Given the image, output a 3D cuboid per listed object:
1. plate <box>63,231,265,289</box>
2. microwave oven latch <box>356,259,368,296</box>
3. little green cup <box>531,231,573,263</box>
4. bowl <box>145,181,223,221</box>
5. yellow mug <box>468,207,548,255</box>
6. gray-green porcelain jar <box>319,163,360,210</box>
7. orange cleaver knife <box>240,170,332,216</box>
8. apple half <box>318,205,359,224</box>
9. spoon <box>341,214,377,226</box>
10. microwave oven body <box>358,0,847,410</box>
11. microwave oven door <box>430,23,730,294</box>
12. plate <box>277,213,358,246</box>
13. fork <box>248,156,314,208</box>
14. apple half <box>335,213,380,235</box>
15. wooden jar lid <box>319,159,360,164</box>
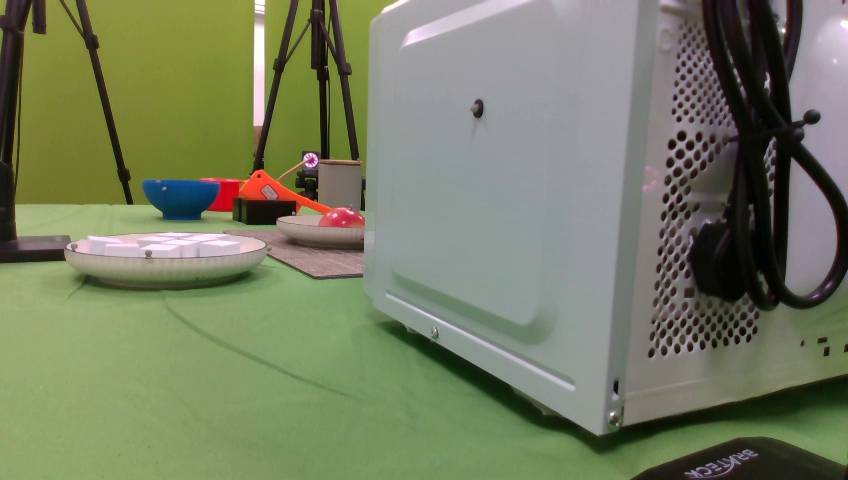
[{"bbox_3d":[-0.288,0.021,0.687,0.208,0.039,0.207,2,8,0],"label":"plate"},{"bbox_3d":[-0.019,0.031,0.528,0.079,0.029,0.030,-1,7,-26],"label":"microwave oven latch"},{"bbox_3d":[0.184,0.009,0.878,0.061,0.038,0.061,3,9,0],"label":"little green cup"},{"bbox_3d":[-0.499,-0.081,1.261,0.151,0.077,0.151,2,8,0],"label":"bowl"},{"bbox_3d":[0.136,-0.015,0.950,0.131,0.064,0.099,3,6,-20],"label":"yellow mug"},{"bbox_3d":[-0.204,-0.126,1.490,0.106,0.126,0.106,2,8,0],"label":"gray-green porcelain jar"},{"bbox_3d":[-0.286,-0.081,1.299,0.212,0.077,0.012,25,-2,-31],"label":"orange cleaver knife"},{"bbox_3d":[-0.126,-0.028,0.954,0.081,0.053,0.074,-2,11,-33],"label":"apple half"},{"bbox_3d":[-0.132,-0.047,1.305,0.041,0.021,0.194,-14,4,14],"label":"spoon"},{"bbox_3d":[0.210,-0.051,0.471,0.444,0.260,0.324,-1,7,-28],"label":"microwave oven body"},{"bbox_3d":[0.177,-0.077,0.625,0.357,0.243,0.039,-2,8,-25],"label":"microwave oven door"},{"bbox_3d":[-0.135,-0.018,0.993,0.209,0.038,0.209,2,7,0],"label":"plate"},{"bbox_3d":[-0.360,-0.147,1.523,0.207,0.019,0.028,-43,17,-6],"label":"fork"},{"bbox_3d":[-0.112,-0.029,1.034,0.081,0.033,0.081,0,9,0],"label":"apple half"},{"bbox_3d":[-0.202,-0.189,1.481,0.108,0.020,0.108,2,10,0],"label":"wooden jar lid"}]
